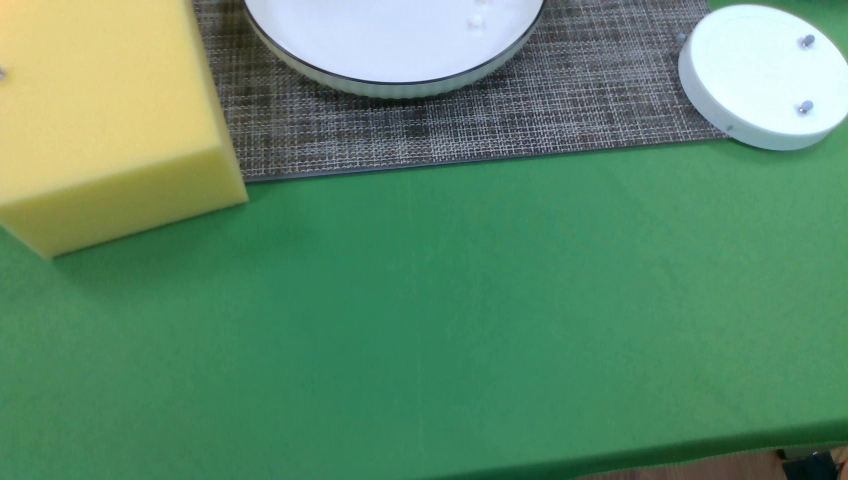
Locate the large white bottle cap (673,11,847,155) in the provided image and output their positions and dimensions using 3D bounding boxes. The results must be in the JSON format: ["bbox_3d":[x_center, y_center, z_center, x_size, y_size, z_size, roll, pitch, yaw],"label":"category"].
[{"bbox_3d":[0.230,-0.110,0.415,0.115,0.018,0.114,2,64,-4],"label":"large white bottle cap"}]

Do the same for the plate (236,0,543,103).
[{"bbox_3d":[-0.022,-0.174,0.421,0.209,0.038,0.207,1,64,-2],"label":"plate"}]

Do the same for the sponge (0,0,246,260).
[{"bbox_3d":[-0.196,-0.103,0.366,0.118,0.061,0.205,-19,66,-12],"label":"sponge"}]
